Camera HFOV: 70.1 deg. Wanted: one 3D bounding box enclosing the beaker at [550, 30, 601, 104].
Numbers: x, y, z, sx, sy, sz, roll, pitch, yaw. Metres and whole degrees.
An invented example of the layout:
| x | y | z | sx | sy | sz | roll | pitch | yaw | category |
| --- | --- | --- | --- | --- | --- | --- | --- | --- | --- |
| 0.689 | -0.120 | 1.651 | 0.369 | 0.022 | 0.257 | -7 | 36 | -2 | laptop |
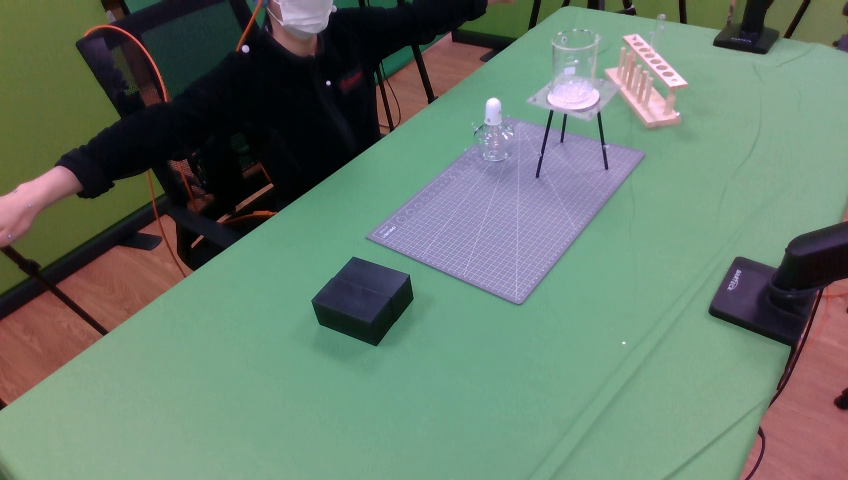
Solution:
| x | y | z | sx | sy | sz | roll | pitch | yaw | category |
| --- | --- | --- | --- | --- | --- | --- | --- | --- | --- |
| 0.249 | -0.285 | 1.001 | 0.084 | 0.101 | 0.073 | -13 | 43 | -5 | beaker |

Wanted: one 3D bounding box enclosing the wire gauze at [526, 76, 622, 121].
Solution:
| x | y | z | sx | sy | sz | roll | pitch | yaw | category |
| --- | --- | --- | --- | --- | --- | --- | --- | --- | --- |
| 0.255 | -0.247 | 1.030 | 0.124 | 0.011 | 0.122 | 23 | 49 | 34 | wire gauze |

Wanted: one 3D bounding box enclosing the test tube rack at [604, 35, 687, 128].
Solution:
| x | y | z | sx | sy | sz | roll | pitch | yaw | category |
| --- | --- | --- | --- | --- | --- | --- | --- | --- | --- |
| 0.447 | -0.330 | 1.241 | 0.067 | 0.085 | 0.241 | -9 | 41 | -2 | test tube rack |

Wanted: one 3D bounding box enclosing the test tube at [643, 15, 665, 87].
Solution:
| x | y | z | sx | sy | sz | roll | pitch | yaw | category |
| --- | --- | --- | --- | --- | --- | --- | --- | --- | --- |
| 0.460 | -0.378 | 1.219 | 0.017 | 0.151 | 0.017 | -1 | 43 | 1 | test tube |

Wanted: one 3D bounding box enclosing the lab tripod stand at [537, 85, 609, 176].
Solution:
| x | y | z | sx | sy | sz | roll | pitch | yaw | category |
| --- | --- | --- | --- | --- | --- | --- | --- | --- | --- |
| 0.259 | -0.192 | 1.068 | 0.148 | 0.132 | 0.147 | -4 | 43 | 4 | lab tripod stand |

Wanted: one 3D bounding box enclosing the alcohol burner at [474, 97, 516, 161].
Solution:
| x | y | z | sx | sy | sz | roll | pitch | yaw | category |
| --- | --- | --- | --- | --- | --- | --- | --- | --- | --- |
| 0.131 | -0.208 | 1.121 | 0.078 | 0.119 | 0.077 | -6 | 40 | 5 | alcohol burner |

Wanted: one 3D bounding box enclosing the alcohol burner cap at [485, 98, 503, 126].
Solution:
| x | y | z | sx | sy | sz | roll | pitch | yaw | category |
| --- | --- | --- | --- | --- | --- | --- | --- | --- | --- |
| 0.126 | -0.234 | 1.097 | 0.034 | 0.048 | 0.033 | -3 | 39 | 3 | alcohol burner cap |
